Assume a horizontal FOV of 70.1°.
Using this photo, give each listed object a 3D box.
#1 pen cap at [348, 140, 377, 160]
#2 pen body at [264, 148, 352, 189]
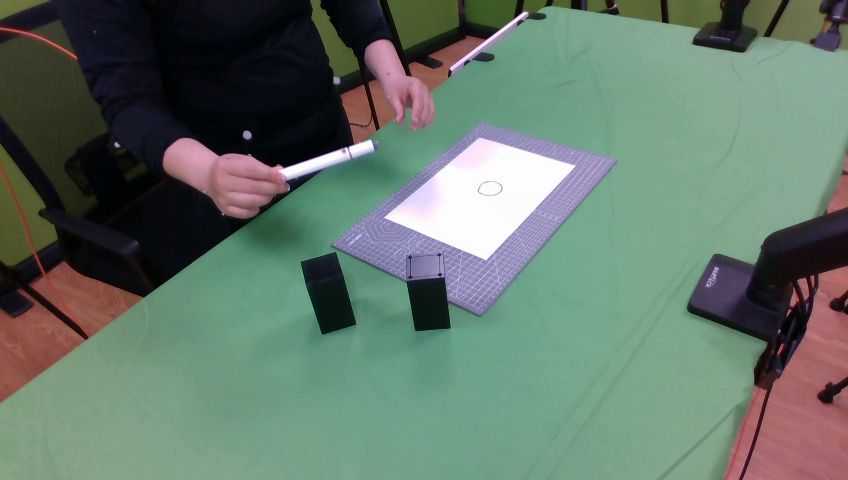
[{"bbox_3d":[-0.082,-0.122,0.813,0.038,0.017,0.017,-22,41,-5],"label":"pen cap"},{"bbox_3d":[-0.142,-0.100,0.807,0.144,0.017,0.017,-22,41,-5],"label":"pen body"}]
